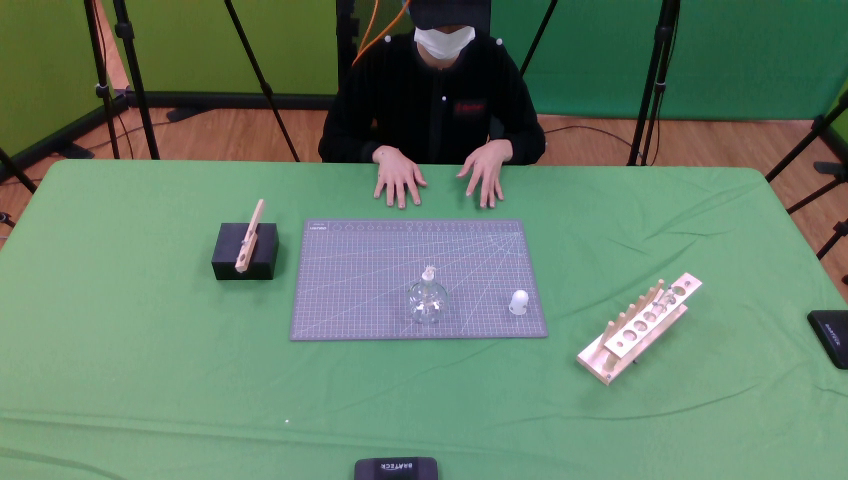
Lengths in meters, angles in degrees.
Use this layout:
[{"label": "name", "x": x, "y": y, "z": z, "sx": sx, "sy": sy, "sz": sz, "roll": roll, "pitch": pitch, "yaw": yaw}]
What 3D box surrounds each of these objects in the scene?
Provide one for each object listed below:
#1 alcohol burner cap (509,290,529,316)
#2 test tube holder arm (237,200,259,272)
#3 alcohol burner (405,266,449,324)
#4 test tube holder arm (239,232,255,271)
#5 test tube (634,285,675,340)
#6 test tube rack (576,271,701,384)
[{"label": "alcohol burner cap", "x": 0.171, "y": 0.110, "z": 1.086, "sx": 0.034, "sy": 0.048, "sz": 0.033, "roll": 2, "pitch": 46, "yaw": -1}, {"label": "test tube holder arm", "x": -0.324, "y": -0.012, "z": 1.120, "sx": 0.013, "sy": 0.015, "sz": 0.177, "roll": 0, "pitch": 45, "yaw": -4}, {"label": "alcohol burner", "x": 0.005, "y": 0.089, "z": 1.043, "sx": 0.078, "sy": 0.120, "sz": 0.077, "roll": 1, "pitch": 45, "yaw": -1}, {"label": "test tube holder arm", "x": -0.317, "y": 0.020, "z": 1.089, "sx": 0.010, "sy": 0.015, "sz": 0.087, "roll": 2, "pitch": 45, "yaw": -2}, {"label": "test tube", "x": 0.375, "y": 0.122, "z": 0.993, "sx": 0.017, "sy": 0.151, "sz": 0.017, "roll": 3, "pitch": 50, "yaw": -3}, {"label": "test tube rack", "x": 0.373, "y": 0.138, "z": 1.047, "sx": 0.242, "sy": 0.085, "sz": 0.066, "roll": -31, "pitch": 56, "yaw": -29}]
